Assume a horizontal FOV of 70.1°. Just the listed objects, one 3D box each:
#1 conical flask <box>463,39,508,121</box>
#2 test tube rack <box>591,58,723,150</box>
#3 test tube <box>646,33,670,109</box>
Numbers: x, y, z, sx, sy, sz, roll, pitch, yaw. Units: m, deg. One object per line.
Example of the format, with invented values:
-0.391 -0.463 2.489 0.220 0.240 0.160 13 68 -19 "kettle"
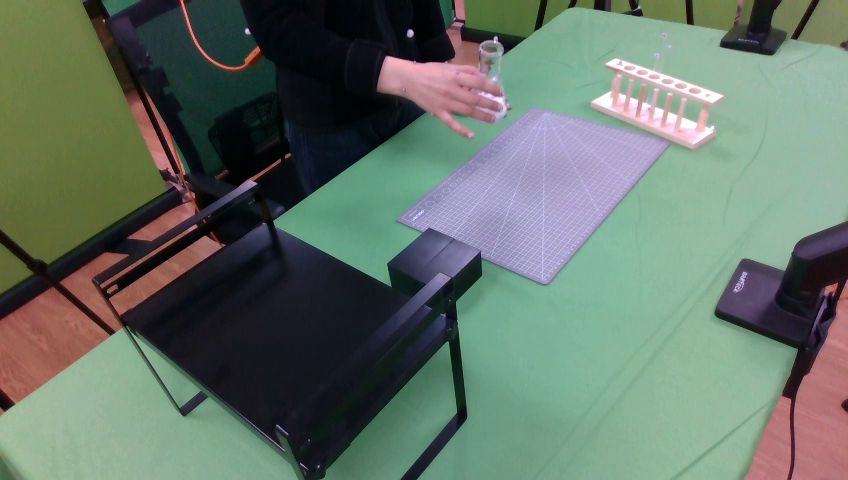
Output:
0.102 -0.255 0.959 0.075 0.122 0.075 1 52 0 "conical flask"
0.442 -0.269 1.171 0.067 0.085 0.240 -30 46 -23 "test tube rack"
0.445 -0.319 1.154 0.017 0.151 0.017 -1 41 2 "test tube"
